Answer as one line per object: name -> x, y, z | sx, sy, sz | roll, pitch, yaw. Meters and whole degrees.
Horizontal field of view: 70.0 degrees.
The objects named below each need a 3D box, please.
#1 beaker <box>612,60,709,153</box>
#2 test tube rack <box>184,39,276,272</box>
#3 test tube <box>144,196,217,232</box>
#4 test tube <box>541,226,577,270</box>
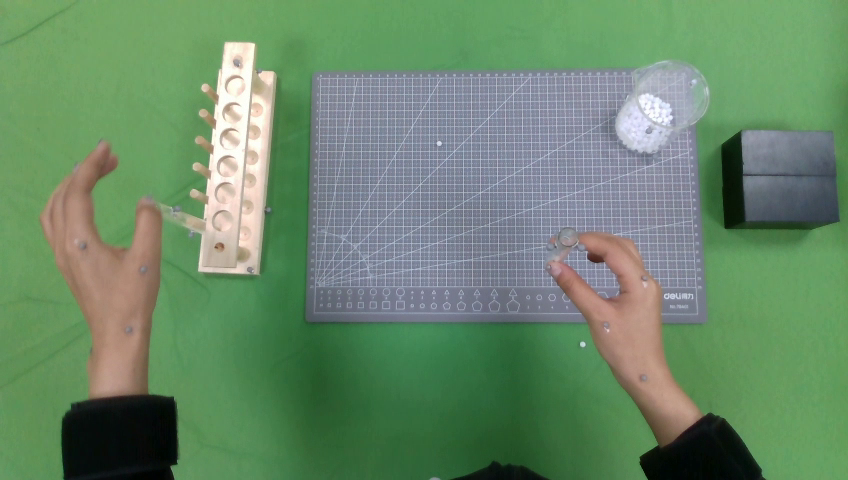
beaker -> 0.249, -0.142, 0.660 | 0.084, 0.100, 0.074 | 38, 84, 8
test tube rack -> -0.220, -0.090, 0.674 | 0.067, 0.085, 0.241 | 3, 82, 2
test tube -> -0.246, -0.024, 0.620 | 0.017, 0.151, 0.017 | 0, 82, 2
test tube -> 0.113, 0.010, 0.519 | 0.017, 0.151, 0.017 | -1, 80, 6
